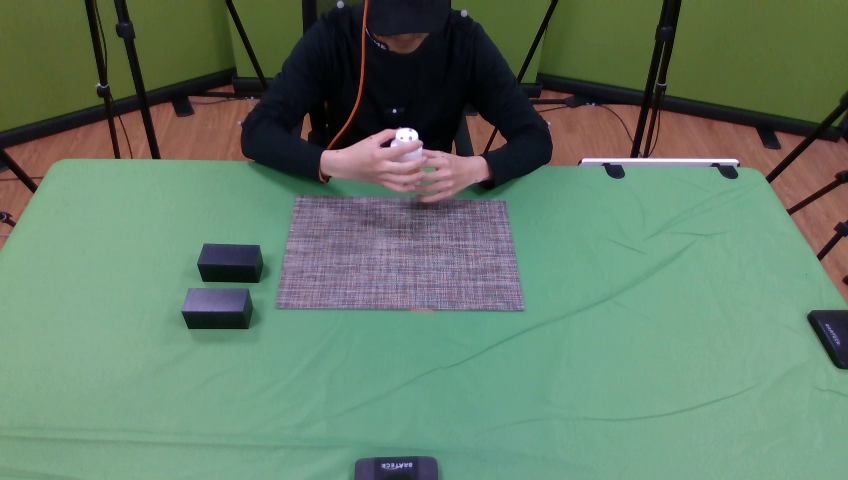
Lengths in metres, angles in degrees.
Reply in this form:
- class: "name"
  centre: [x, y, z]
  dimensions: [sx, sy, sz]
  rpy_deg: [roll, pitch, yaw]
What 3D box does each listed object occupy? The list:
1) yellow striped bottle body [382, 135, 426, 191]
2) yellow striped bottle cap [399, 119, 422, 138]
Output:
- class: "yellow striped bottle body"
  centre: [-0.036, -0.158, 1.200]
  dimensions: [0.063, 0.120, 0.062]
  rpy_deg: [15, 46, -15]
- class: "yellow striped bottle cap"
  centre: [-0.026, -0.211, 1.145]
  dimensions: [0.044, 0.019, 0.044]
  rpy_deg: [4, 39, -3]
